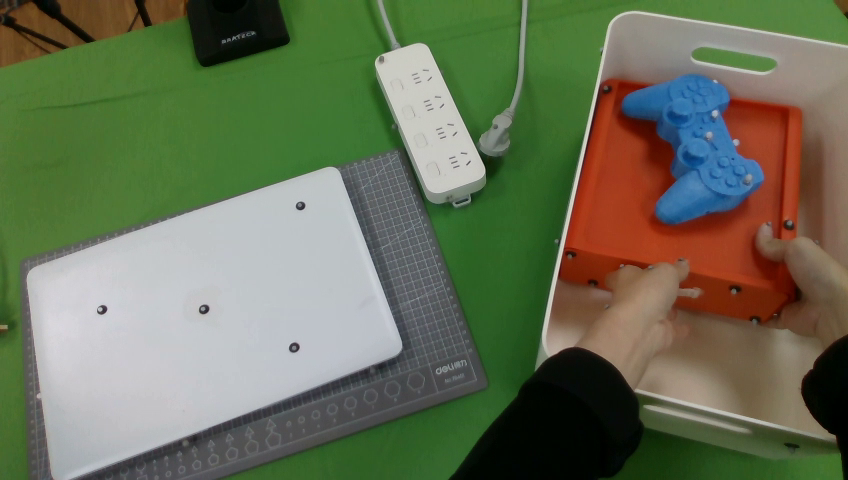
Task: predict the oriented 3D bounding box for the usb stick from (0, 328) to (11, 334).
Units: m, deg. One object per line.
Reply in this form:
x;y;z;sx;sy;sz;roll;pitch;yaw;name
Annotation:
-0.467;0.090;0.633;0.059;0.021;0.027;6;66;-30;usb stick

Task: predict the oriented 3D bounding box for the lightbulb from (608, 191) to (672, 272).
0.211;-0.009;0.611;0.059;0.060;0.106;-5;49;2;lightbulb

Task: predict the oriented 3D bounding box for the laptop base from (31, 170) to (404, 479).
-0.221;0.077;0.637;0.354;0.023;0.233;-20;69;-6;laptop base

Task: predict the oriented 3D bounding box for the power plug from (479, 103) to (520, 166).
0.094;-0.117;0.695;0.035;0.053;0.072;40;56;23;power plug

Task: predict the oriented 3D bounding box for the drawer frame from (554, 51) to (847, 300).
0.235;-0.056;0.560;0.083;0.213;0.202;-43;99;0;drawer frame

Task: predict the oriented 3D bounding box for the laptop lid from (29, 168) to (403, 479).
-0.221;0.075;0.625;0.357;0.013;0.239;-19;68;-5;laptop lid

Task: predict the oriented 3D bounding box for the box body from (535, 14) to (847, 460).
0.259;-0.004;0.565;0.253;0.161;0.362;13;67;9;box body

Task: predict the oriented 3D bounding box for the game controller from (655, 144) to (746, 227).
0.257;-0.092;0.580;0.097;0.052;0.154;-6;62;1;game controller

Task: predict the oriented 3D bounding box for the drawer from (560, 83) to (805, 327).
0.259;-0.040;0.612;0.194;0.074;0.210;15;70;12;drawer

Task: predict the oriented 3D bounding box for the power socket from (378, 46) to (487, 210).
0.007;-0.138;0.712;0.072;0.033;0.224;-19;65;-6;power socket
